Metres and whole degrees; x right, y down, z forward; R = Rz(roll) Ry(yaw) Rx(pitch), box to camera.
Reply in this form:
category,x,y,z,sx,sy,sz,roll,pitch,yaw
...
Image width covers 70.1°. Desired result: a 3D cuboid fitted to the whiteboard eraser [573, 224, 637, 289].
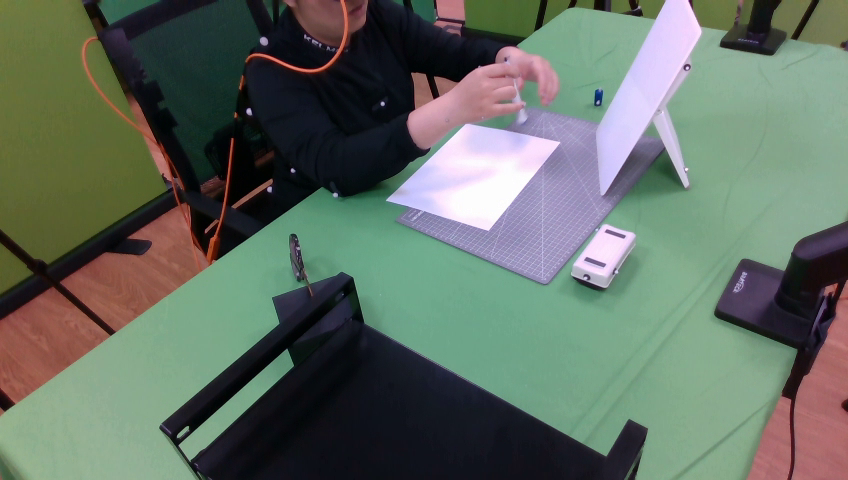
category,x,y,z,sx,sy,sz,roll,pitch,yaw
whiteboard eraser,0.267,0.025,0.891,0.055,0.042,0.113,19,47,31

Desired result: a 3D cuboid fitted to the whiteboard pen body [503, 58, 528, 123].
category,x,y,z,sx,sy,sz,roll,pitch,yaw
whiteboard pen body,0.154,-0.253,1.027,0.017,0.142,0.017,-13,51,17

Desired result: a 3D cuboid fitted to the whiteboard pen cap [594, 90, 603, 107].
category,x,y,z,sx,sy,sz,roll,pitch,yaw
whiteboard pen cap,0.364,-0.294,1.262,0.018,0.033,0.018,-6,41,5

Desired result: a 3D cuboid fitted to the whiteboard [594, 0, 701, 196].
category,x,y,z,sx,sy,sz,roll,pitch,yaw
whiteboard,0.420,-0.227,1.010,0.144,0.305,0.216,18,42,-2

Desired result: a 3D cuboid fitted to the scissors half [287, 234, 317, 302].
category,x,y,z,sx,sy,sz,roll,pitch,yaw
scissors half,-0.179,0.040,0.885,0.013,0.040,0.173,-11,36,-20

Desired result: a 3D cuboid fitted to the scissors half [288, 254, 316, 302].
category,x,y,z,sx,sy,sz,roll,pitch,yaw
scissors half,-0.178,0.058,0.894,0.013,0.040,0.174,-16,21,-18
